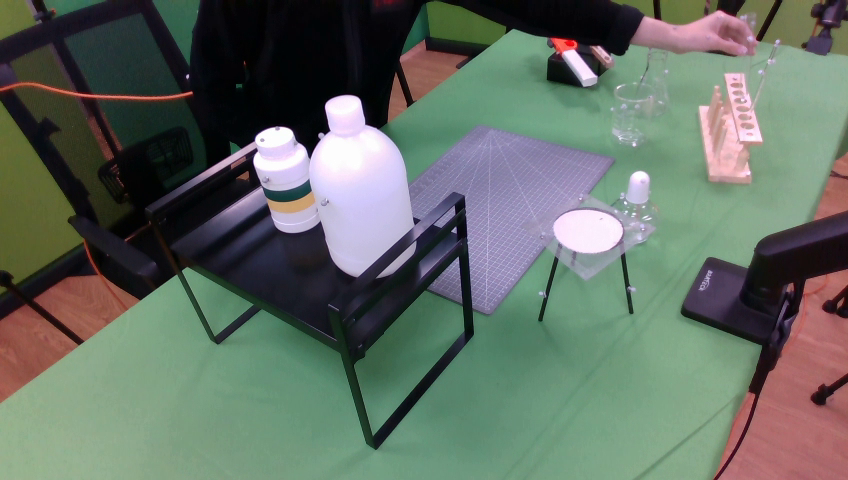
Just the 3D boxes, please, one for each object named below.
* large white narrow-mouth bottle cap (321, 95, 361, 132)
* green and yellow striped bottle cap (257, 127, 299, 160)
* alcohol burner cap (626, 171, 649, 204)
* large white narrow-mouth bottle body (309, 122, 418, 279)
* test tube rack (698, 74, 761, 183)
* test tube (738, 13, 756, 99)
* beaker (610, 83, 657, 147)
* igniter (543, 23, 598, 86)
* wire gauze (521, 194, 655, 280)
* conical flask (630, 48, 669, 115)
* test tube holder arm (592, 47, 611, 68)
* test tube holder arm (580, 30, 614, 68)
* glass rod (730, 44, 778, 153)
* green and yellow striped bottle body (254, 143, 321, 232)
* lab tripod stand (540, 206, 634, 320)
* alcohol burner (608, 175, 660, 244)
[{"bbox_3d":[-0.081,-0.123,0.589,0.037,0.024,0.037,-6,40,5],"label":"large white narrow-mouth bottle cap"},{"bbox_3d":[-0.169,-0.112,0.699,0.045,0.020,0.045,-5,41,5],"label":"green and yellow striped bottle cap"},{"bbox_3d":[0.320,-0.081,0.900,0.034,0.048,0.033,-4,42,4],"label":"alcohol burner cap"},{"bbox_3d":[-0.068,-0.057,0.644,0.102,0.195,0.101,-6,40,6],"label":"large white narrow-mouth bottle body"},{"bbox_3d":[0.547,-0.208,1.095,0.066,0.085,0.242,5,42,15],"label":"test tube rack"},{"bbox_3d":[0.544,-0.307,1.019,0.017,0.151,0.017,-10,39,9],"label":"test tube"},{"bbox_3d":[0.388,-0.235,1.138,0.074,0.101,0.083,-31,45,-25],"label":"beaker"},{"bbox_3d":[0.320,-0.419,1.345,0.057,0.025,0.274,-12,44,-3],"label":"igniter"},{"bbox_3d":[0.207,-0.012,0.772,0.122,0.011,0.124,-28,44,-20],"label":"wire gauze"},{"bbox_3d":[0.457,-0.317,1.205,0.075,0.122,0.075,-4,41,4],"label":"conical flask"},{"bbox_3d":[0.386,-0.399,1.317,0.010,0.015,0.087,-7,41,-3],"label":"test tube holder arm"},{"bbox_3d":[0.385,-0.428,1.351,0.013,0.015,0.177,-8,41,-4],"label":"test tube holder arm"},{"bbox_3d":[0.555,-0.234,1.021,0.008,0.200,0.008,2,40,-1],"label":"glass rod"},{"bbox_3d":[-0.165,-0.073,0.732,0.063,0.120,0.063,-4,41,4],"label":"green and yellow striped bottle body"},{"bbox_3d":[0.217,0.034,0.821,0.148,0.132,0.147,-4,42,4],"label":"lab tripod stand"},{"bbox_3d":[0.322,-0.053,0.924,0.078,0.119,0.077,-4,42,4],"label":"alcohol burner"}]
